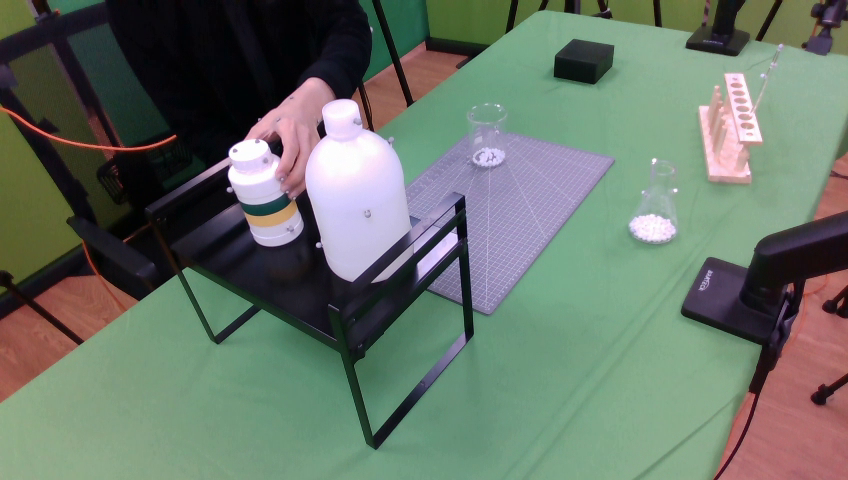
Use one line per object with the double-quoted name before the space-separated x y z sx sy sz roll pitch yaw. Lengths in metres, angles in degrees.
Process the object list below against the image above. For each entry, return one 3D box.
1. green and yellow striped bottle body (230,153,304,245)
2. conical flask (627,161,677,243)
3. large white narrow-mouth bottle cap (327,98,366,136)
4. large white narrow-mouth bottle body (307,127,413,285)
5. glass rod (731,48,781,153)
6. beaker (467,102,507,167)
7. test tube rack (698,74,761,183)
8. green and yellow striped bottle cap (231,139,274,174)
"green and yellow striped bottle body" -0.187 -0.057 0.714 0.063 0.120 0.063 -5 42 5
"conical flask" 0.355 -0.061 0.921 0.075 0.122 0.075 -4 41 4
"large white narrow-mouth bottle cap" -0.075 -0.118 0.581 0.038 0.024 0.037 -3 40 3
"large white narrow-mouth bottle body" -0.069 -0.051 0.638 0.102 0.195 0.101 -3 40 3
"glass rod" 0.554 -0.228 1.015 0.008 0.200 0.008 1 44 -1
"beaker" 0.121 -0.195 1.124 0.084 0.100 0.073 -34 48 -28
"test tube rack" 0.547 -0.208 1.095 0.066 0.085 0.242 5 42 15
"green and yellow striped bottle cap" -0.193 -0.095 0.679 0.045 0.020 0.045 -6 40 5
